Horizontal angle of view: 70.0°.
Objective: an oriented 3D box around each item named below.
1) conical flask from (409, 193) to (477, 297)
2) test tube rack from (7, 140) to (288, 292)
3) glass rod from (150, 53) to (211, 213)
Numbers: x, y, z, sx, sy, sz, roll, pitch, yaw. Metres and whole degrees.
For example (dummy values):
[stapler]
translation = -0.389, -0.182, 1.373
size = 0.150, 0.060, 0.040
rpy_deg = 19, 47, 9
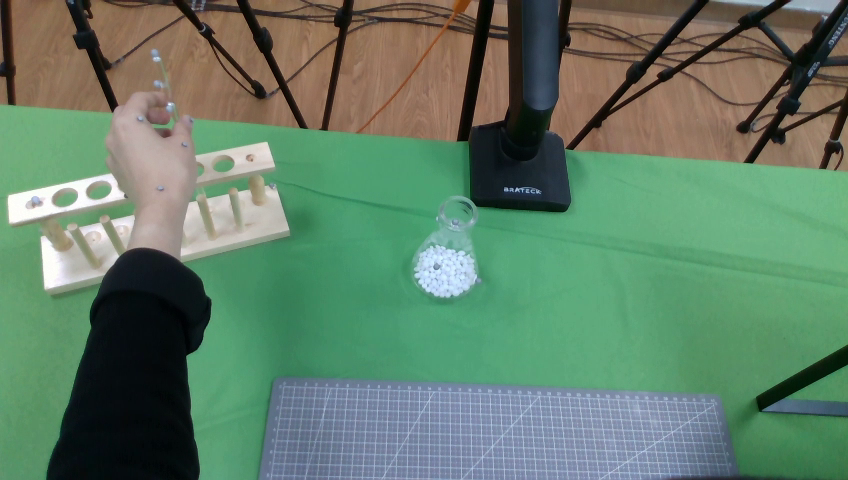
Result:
[conical flask]
translation = 0.026, 0.001, 0.617
size = 0.075, 0.123, 0.074
rpy_deg = 3, 58, -4
[test tube rack]
translation = -0.270, -0.026, 0.618
size = 0.243, 0.086, 0.066
rpy_deg = -15, 62, -15
[glass rod]
translation = -0.232, -0.092, 0.585
size = 0.008, 0.201, 0.008
rpy_deg = 2, 51, -2
